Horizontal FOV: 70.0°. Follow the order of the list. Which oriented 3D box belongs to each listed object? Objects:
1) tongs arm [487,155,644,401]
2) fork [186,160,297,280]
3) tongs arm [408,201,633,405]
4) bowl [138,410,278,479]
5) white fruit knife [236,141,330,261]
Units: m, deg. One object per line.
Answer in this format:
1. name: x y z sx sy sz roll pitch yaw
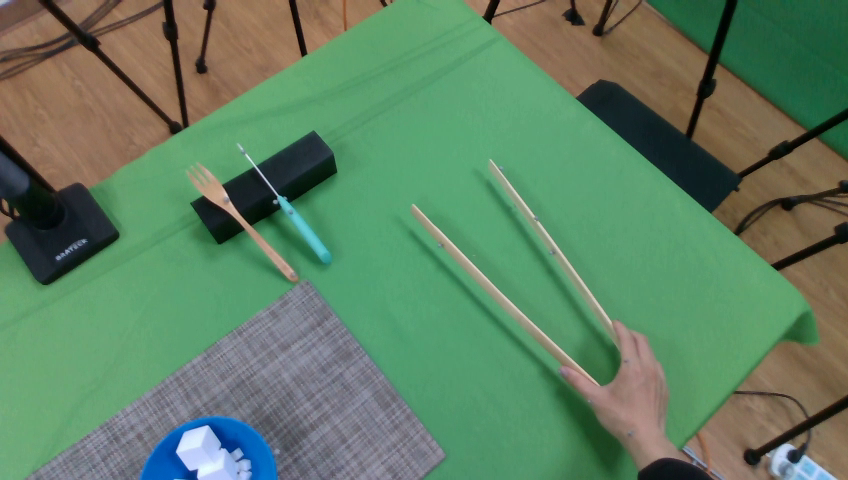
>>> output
1. tongs arm: 0.176 0.039 0.821 0.051 0.027 0.382 -28 69 -17
2. fork: -0.246 -0.024 0.825 0.207 0.018 0.028 48 67 -4
3. tongs arm: 0.114 0.078 0.799 0.028 0.028 0.385 -38 72 -25
4. bowl: -0.236 0.276 0.690 0.151 0.077 0.150 1 65 -1
5. white fruit knife: -0.198 -0.055 0.839 0.016 0.027 0.207 -38 89 -11
